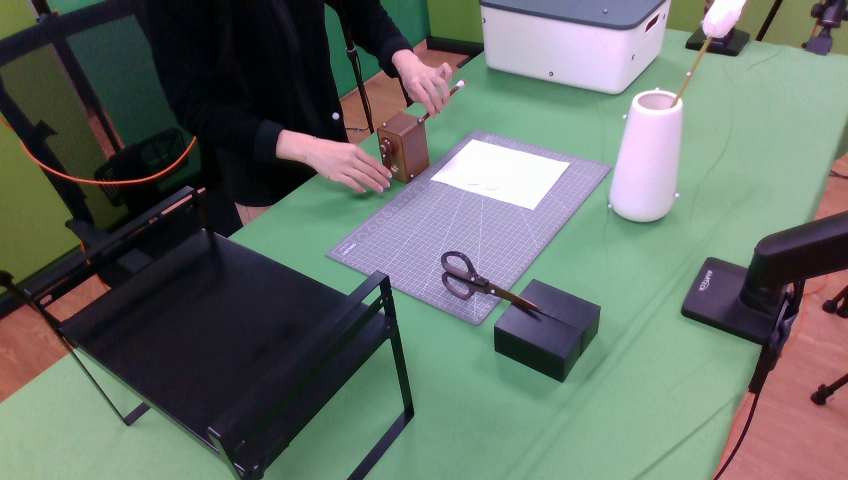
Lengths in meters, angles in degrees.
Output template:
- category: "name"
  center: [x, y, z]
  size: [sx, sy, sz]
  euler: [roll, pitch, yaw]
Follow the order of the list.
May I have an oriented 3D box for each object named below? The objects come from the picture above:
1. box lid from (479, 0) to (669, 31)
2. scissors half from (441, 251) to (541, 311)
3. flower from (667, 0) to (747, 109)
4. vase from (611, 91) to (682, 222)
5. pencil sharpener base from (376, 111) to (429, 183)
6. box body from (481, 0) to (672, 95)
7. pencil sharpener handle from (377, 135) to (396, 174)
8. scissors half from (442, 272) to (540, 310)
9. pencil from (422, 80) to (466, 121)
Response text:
- category: "box lid"
  center: [0.335, -0.536, 1.331]
  size: [0.368, 0.015, 0.264]
  euler: [23, 49, 30]
- category: "scissors half"
  center: [0.087, 0.056, 0.824]
  size: [0.013, 0.040, 0.173]
  euler: [-29, 44, -36]
- category: "flower"
  center: [0.354, -0.187, 0.879]
  size: [0.038, 0.362, 0.044]
  euler: [30, 48, 14]
- category: "vase"
  center: [0.348, -0.125, 0.935]
  size: [0.098, 0.201, 0.097]
  euler: [-3, 40, 3]
- category: "pencil sharpener base"
  center: [-0.039, -0.169, 1.115]
  size: [0.061, 0.107, 0.077]
  euler: [23, 50, 30]
- category: "box body"
  center: [0.341, -0.480, 1.381]
  size: [0.361, 0.161, 0.255]
  euler: [22, 48, 30]
- category: "pencil sharpener handle"
  center: [-0.072, -0.150, 1.078]
  size: [0.035, 0.068, 0.031]
  euler: [27, 51, 26]
- category: "scissors half"
  center: [0.089, 0.075, 0.832]
  size: [0.013, 0.040, 0.173]
  euler: [-23, 23, -38]
- category: "pencil"
  center: [0.031, -0.264, 1.174]
  size: [0.012, 0.012, 0.194]
  euler: [19, 48, 27]
